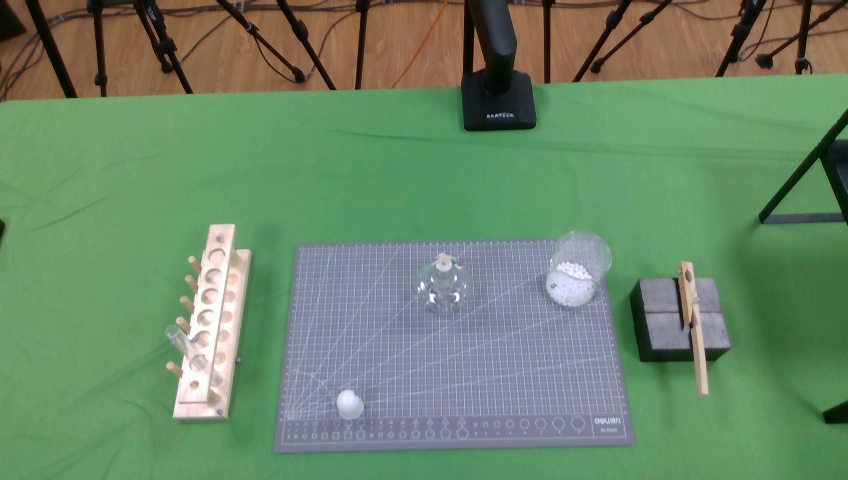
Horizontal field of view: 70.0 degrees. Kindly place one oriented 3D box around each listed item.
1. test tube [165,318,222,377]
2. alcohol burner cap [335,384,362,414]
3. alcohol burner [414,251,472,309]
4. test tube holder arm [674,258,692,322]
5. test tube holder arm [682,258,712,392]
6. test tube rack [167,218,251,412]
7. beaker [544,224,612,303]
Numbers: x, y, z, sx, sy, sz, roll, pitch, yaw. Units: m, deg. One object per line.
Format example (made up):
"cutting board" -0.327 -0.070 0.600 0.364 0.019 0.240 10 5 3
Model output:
"test tube" -0.272 0.132 0.724 0.017 0.151 0.017 -1 57 2
"alcohol burner cap" -0.097 0.198 0.765 0.034 0.048 0.033 1 61 -1
"alcohol burner" 0.025 0.046 0.806 0.078 0.120 0.077 -1 62 2
"test tube holder arm" 0.342 0.065 0.795 0.010 0.015 0.087 1 63 3
"test tube holder arm" 0.347 0.105 0.775 0.013 0.015 0.177 -1 63 2
"test tube rack" -0.287 0.096 0.801 0.067 0.086 0.240 -1 61 1
"beaker" 0.201 0.037 0.817 0.084 0.101 0.073 -22 62 -10
